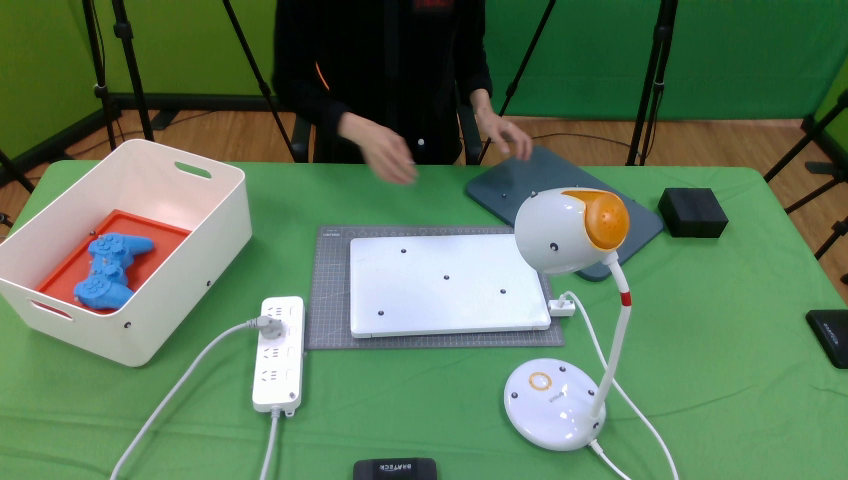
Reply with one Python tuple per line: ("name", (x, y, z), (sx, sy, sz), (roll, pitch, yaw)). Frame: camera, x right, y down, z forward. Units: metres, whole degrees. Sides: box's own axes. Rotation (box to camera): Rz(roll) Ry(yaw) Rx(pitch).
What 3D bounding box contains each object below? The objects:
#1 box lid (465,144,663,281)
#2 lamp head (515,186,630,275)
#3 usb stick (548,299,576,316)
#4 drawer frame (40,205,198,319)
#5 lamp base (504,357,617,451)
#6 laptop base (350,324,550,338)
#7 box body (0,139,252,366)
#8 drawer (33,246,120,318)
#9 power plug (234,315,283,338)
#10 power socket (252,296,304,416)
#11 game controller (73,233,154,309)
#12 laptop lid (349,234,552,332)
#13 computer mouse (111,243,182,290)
("box lid", (0.297, -0.072, 1.298), (0.263, 0.015, 0.369), (-33, 56, -31))
("lamp head", (0.188, -0.013, 0.728), (0.112, 0.112, 0.122), (-25, 9, -25))
("usb stick", (0.239, 0.121, 1.084), (0.059, 0.027, 0.021), (-1, 52, -1))
("drawer frame", (-0.504, 0.056, 1.051), (0.201, 0.083, 0.212), (14, 51, 11))
("lamp base", (0.220, 0.211, 0.903), (0.160, 0.181, 0.178), (-32, 59, -30))
("laptop base", (0.039, 0.081, 1.124), (0.355, 0.023, 0.234), (-2, 43, -6))
("box body", (-0.496, 0.013, 1.048), (0.254, 0.161, 0.362), (17, 47, 12))
("drawer", (-0.508, 0.053, 1.045), (0.194, 0.073, 0.211), (15, 43, 10))
("power plug", (-0.270, 0.143, 1.000), (0.072, 0.053, 0.035), (5, 47, 2))
("power socket", (-0.238, 0.182, 0.997), (0.072, 0.033, 0.225), (-3, 47, -5))
("game controller", (-0.507, 0.047, 0.991), (0.097, 0.052, 0.154), (-6, 46, -4))
("laptop lid", (0.040, 0.071, 1.118), (0.357, 0.013, 0.240), (0, 44, -5))
("computer mouse", (-0.493, 0.044, 1.077), (0.117, 0.041, 0.062), (24, 42, 12))
